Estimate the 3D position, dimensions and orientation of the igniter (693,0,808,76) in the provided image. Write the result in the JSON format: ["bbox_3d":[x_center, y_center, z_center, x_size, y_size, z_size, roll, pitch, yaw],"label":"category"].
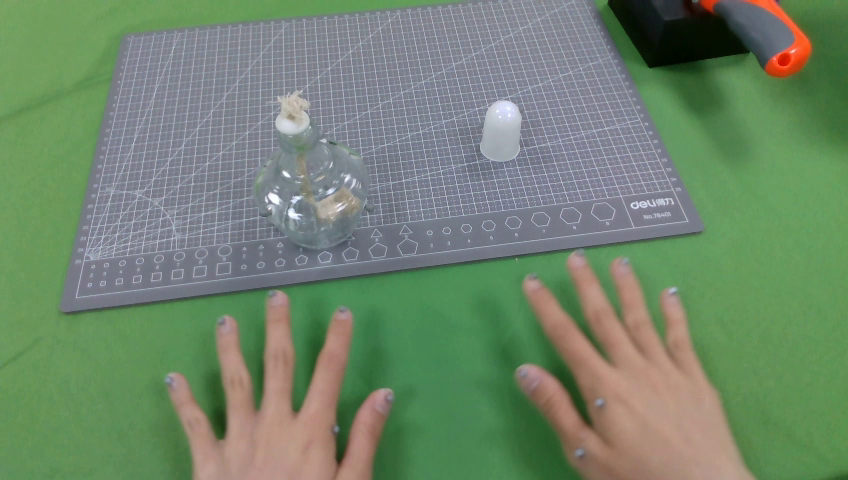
[{"bbox_3d":[0.243,-0.232,0.521,0.057,0.025,0.273,-12,54,-4],"label":"igniter"}]

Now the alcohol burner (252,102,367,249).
[{"bbox_3d":[-0.078,-0.046,0.398,0.078,0.120,0.077,-1,57,1],"label":"alcohol burner"}]

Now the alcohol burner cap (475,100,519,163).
[{"bbox_3d":[0.058,-0.087,0.468,0.034,0.048,0.033,1,55,0],"label":"alcohol burner cap"}]
